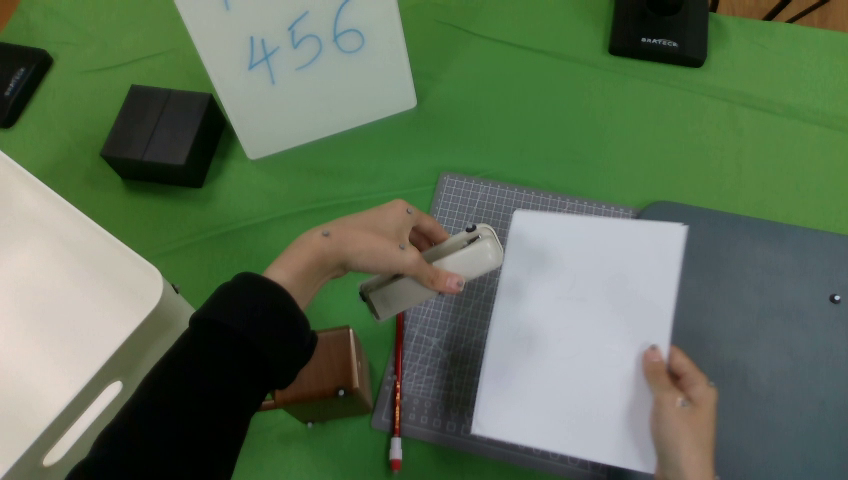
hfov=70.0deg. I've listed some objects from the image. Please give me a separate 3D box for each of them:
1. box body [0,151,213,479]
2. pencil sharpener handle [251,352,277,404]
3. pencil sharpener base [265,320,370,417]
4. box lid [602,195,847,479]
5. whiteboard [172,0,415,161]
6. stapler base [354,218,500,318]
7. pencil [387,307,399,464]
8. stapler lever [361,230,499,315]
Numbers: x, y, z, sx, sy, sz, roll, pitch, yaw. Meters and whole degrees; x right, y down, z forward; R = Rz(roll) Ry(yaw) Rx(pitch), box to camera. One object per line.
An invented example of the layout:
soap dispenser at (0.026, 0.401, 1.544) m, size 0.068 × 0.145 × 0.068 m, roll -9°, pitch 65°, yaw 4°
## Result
box body at (-0.417, 0.068, 0.567) m, size 0.362 × 0.161 × 0.253 m, roll 32°, pitch 70°, yaw 15°
pencil sharpener handle at (-0.147, 0.129, 0.547) m, size 0.030 × 0.068 × 0.035 m, roll -9°, pitch 49°, yaw -1°
pencil sharpener base at (-0.096, 0.123, 0.562) m, size 0.077 × 0.108 × 0.061 m, roll -9°, pitch 65°, yaw -1°
box lid at (0.323, 0.131, 0.597) m, size 0.263 × 0.015 × 0.369 m, roll 12°, pitch 67°, yaw 6°
whiteboard at (-0.155, -0.280, 0.673) m, size 0.217 × 0.308 × 0.142 m, roll -19°, pitch 47°, yaw -6°
stapler base at (0.005, 0.024, 0.521) m, size 0.130 × 0.024 × 0.041 m, roll -26°, pitch 95°, yaw -3°
pencil at (-0.030, 0.125, 0.612) m, size 0.012 × 0.012 × 0.192 m, roll -1°, pitch 65°, yaw 2°
stapler lever at (0.007, 0.027, 0.496) m, size 0.118 × 0.040 × 0.027 m, roll -26°, pitch 95°, yaw -3°
